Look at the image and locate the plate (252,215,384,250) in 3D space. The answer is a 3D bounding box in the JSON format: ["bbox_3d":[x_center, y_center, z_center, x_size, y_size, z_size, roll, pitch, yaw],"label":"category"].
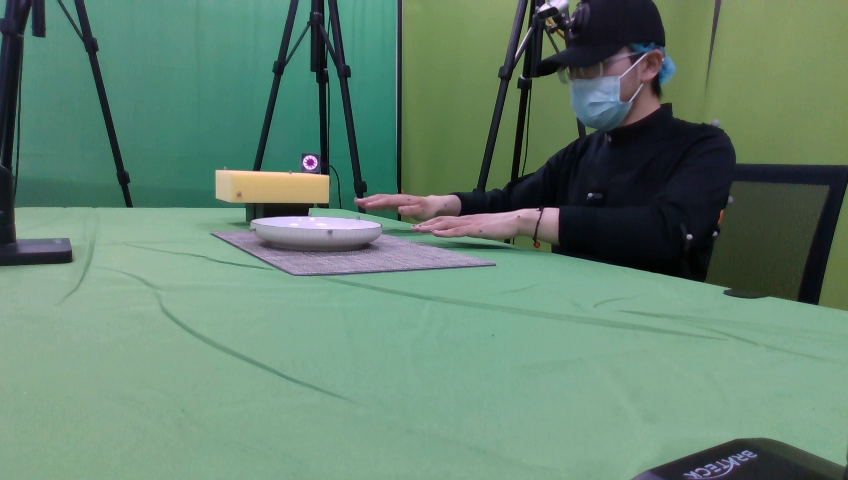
[{"bbox_3d":[-0.169,-0.012,0.976,0.208,0.039,0.207,2,7,0],"label":"plate"}]

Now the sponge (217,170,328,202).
[{"bbox_3d":[-0.318,-0.113,1.274,0.208,0.061,0.117,-3,9,-34],"label":"sponge"}]
